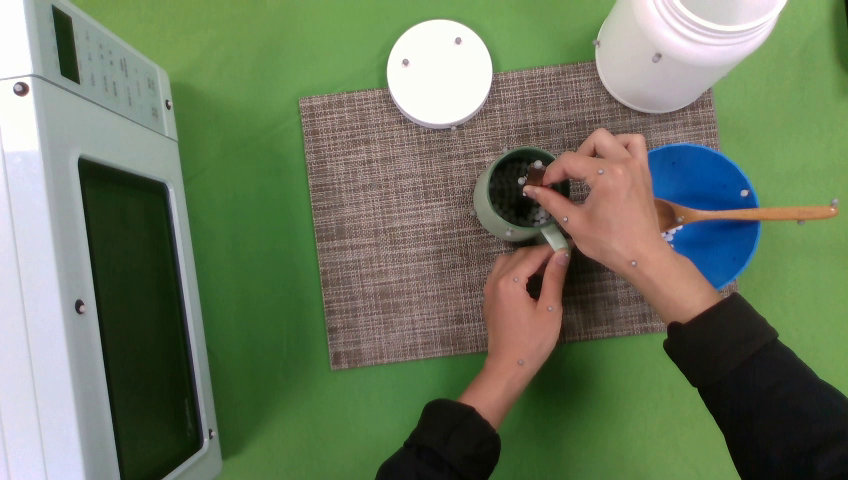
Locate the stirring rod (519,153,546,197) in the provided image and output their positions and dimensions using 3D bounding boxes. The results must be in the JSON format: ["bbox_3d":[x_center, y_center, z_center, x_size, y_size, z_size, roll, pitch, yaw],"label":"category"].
[{"bbox_3d":[0.099,-0.058,0.567,0.014,0.176,0.006,15,87,7],"label":"stirring rod"}]

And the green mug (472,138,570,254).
[{"bbox_3d":[0.106,-0.040,0.610,0.092,0.105,0.125,-35,89,0],"label":"green mug"}]

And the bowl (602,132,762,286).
[{"bbox_3d":[0.250,-0.029,0.621,0.151,0.077,0.151,0,89,2],"label":"bowl"}]

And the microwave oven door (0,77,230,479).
[{"bbox_3d":[-0.254,0.064,0.533,0.039,0.244,0.355,-9,89,1],"label":"microwave oven door"}]

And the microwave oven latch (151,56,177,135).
[{"bbox_3d":[-0.283,-0.150,0.636,0.030,0.029,0.079,-9,90,0],"label":"microwave oven latch"}]

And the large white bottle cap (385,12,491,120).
[{"bbox_3d":[0.015,-0.188,0.656,0.115,0.018,0.114,0,88,1],"label":"large white bottle cap"}]

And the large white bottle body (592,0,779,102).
[{"bbox_3d":[0.243,-0.219,0.569,0.130,0.185,0.130,0,85,2],"label":"large white bottle body"}]

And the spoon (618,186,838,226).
[{"bbox_3d":[0.292,-0.035,0.592,0.193,0.022,0.041,0,93,24],"label":"spoon"}]

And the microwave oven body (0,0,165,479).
[{"bbox_3d":[-0.406,0.045,0.540,0.326,0.260,0.441,-9,90,0],"label":"microwave oven body"}]
